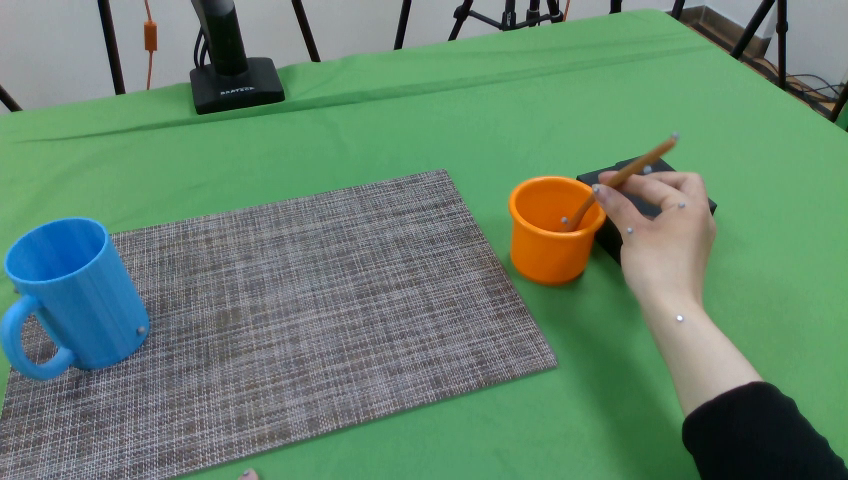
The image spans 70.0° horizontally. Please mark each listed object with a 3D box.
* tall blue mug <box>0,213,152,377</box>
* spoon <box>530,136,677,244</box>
[{"bbox_3d":[-0.283,0.053,0.499,0.078,0.109,0.106,-6,44,-8],"label":"tall blue mug"},{"bbox_3d":[0.154,-0.040,0.546,0.041,0.194,0.021,-32,79,-33],"label":"spoon"}]
